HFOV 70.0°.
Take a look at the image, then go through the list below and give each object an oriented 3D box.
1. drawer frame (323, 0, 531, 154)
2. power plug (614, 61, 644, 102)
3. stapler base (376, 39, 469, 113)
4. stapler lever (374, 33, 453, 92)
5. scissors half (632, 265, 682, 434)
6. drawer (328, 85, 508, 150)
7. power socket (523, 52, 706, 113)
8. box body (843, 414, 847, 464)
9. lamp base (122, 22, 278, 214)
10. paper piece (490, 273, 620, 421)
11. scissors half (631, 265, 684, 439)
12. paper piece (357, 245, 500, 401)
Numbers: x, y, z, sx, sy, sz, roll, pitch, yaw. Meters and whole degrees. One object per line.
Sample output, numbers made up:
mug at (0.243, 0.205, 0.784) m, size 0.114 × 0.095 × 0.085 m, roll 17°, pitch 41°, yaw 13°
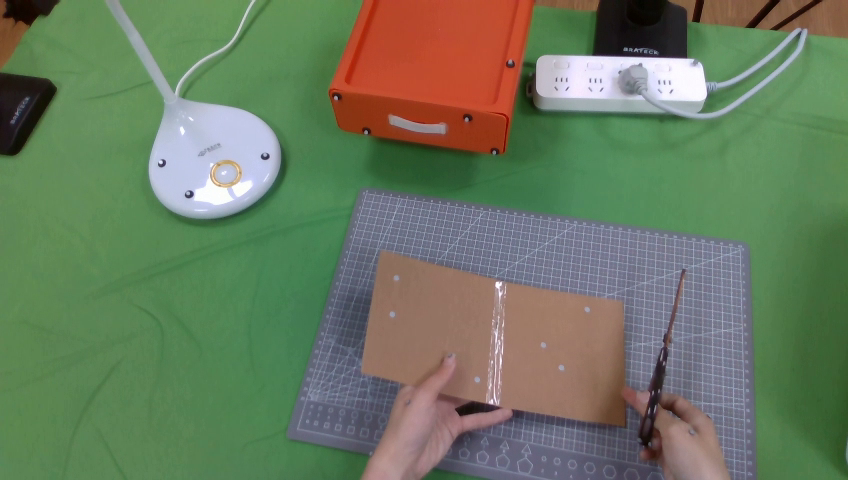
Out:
drawer frame at (0.011, -0.222, 0.715) m, size 0.201 × 0.083 × 0.212 m, roll 10°, pitch 63°, yaw 8°
power plug at (0.247, -0.185, 0.736) m, size 0.035 × 0.053 × 0.072 m, roll 13°, pitch 65°, yaw 9°
stapler base at (-0.005, -0.202, 0.726) m, size 0.129 × 0.024 × 0.041 m, roll 39°, pitch 87°, yaw 22°
stapler lever at (-0.015, -0.209, 0.702) m, size 0.117 × 0.040 × 0.027 m, roll 39°, pitch 87°, yaw 24°
scissors half at (0.222, 0.097, 0.565) m, size 0.013 × 0.040 × 0.174 m, roll 17°, pitch 62°, yaw 18°
drawer at (0.013, -0.219, 0.714) m, size 0.194 × 0.074 × 0.210 m, roll 10°, pitch 63°, yaw 9°
power socket at (0.241, -0.201, 0.771) m, size 0.226 × 0.033 × 0.071 m, roll 3°, pitch 64°, yaw 4°
box body at (0.559, 0.083, 0.538) m, size 0.253 × 0.161 × 0.362 m, roll 21°, pitch 66°, yaw 13°
lamp base at (-0.273, -0.144, 0.684) m, size 0.160 × 0.182 × 0.178 m, roll -42°, pitch 66°, yaw -17°
paper piece at (0.136, 0.107, 0.619) m, size 0.135 × 0.004 × 0.134 m, roll 11°, pitch 63°, yaw -2°
scissors half at (0.227, 0.105, 0.584) m, size 0.012 × 0.040 × 0.174 m, roll 16°, pitch 80°, yaw 23°
paper piece at (0.010, 0.079, 0.599) m, size 0.136 × 0.009 × 0.137 m, roll 15°, pitch 60°, yaw -12°
